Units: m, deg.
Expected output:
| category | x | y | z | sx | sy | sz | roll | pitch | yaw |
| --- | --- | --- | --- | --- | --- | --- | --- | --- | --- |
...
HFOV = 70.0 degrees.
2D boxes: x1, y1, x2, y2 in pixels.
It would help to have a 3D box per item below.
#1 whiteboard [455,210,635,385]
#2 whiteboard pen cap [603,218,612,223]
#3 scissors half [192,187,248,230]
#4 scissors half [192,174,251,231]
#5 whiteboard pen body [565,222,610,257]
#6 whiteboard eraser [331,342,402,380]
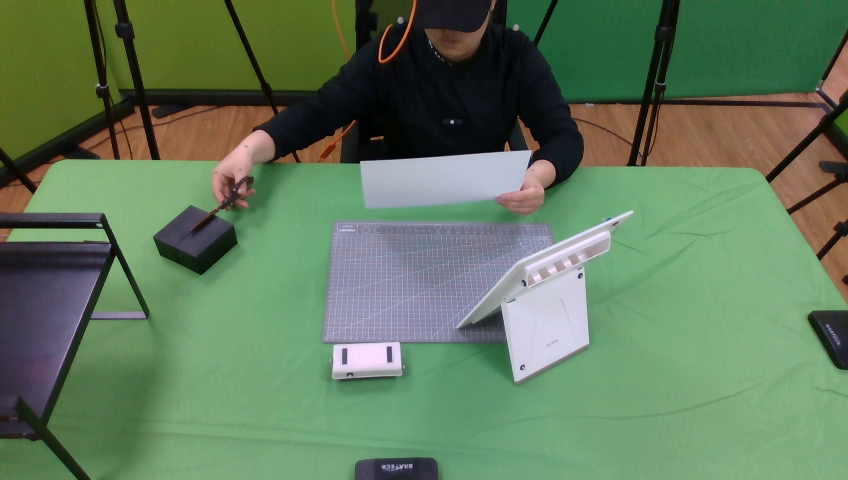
| category | x | y | z | sx | sy | sz | roll | pitch | yaw |
| --- | --- | --- | --- | --- | --- | --- | --- | --- | --- |
| whiteboard | 0.211 | 0.111 | 0.955 | 0.217 | 0.306 | 0.143 | -21 | 71 | -23 |
| whiteboard pen cap | 0.379 | -0.031 | 1.255 | 0.033 | 0.018 | 0.018 | -33 | 57 | -30 |
| scissors half | -0.396 | -0.060 | 1.181 | 0.013 | 0.040 | 0.174 | 29 | 33 | 4 |
| scissors half | -0.388 | -0.073 | 1.166 | 0.013 | 0.040 | 0.174 | 32 | 53 | 0 |
| whiteboard pen body | 0.335 | -0.004 | 1.228 | 0.141 | 0.017 | 0.017 | -33 | 56 | -29 |
| whiteboard eraser | -0.094 | 0.198 | 0.986 | 0.113 | 0.042 | 0.055 | -2 | 44 | -6 |
